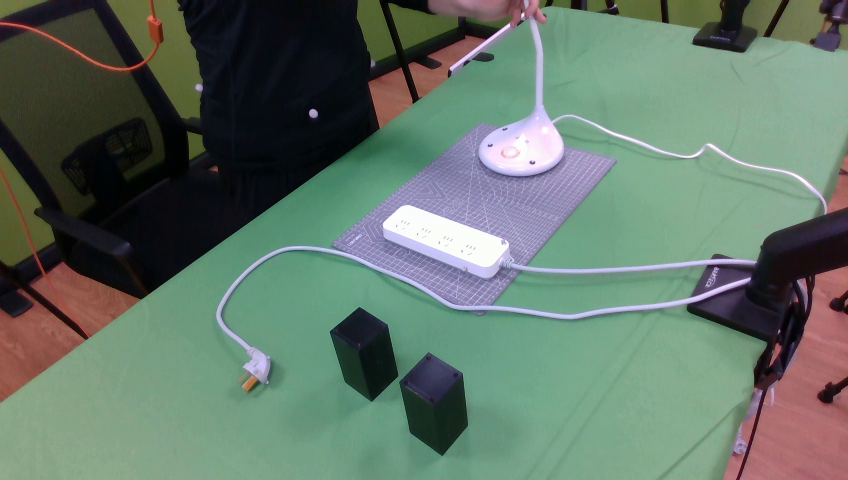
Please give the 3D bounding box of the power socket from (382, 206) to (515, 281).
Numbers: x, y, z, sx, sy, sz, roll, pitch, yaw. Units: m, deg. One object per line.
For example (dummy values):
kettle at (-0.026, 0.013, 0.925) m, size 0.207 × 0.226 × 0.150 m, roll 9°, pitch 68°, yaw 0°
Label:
power socket at (0.032, 0.002, 0.950) m, size 0.225 × 0.033 × 0.072 m, roll 21°, pitch 49°, yaw 29°

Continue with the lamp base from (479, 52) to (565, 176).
lamp base at (0.181, -0.235, 1.093) m, size 0.159 × 0.181 × 0.179 m, roll 18°, pitch 44°, yaw 27°

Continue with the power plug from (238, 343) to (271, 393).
power plug at (-0.230, 0.172, 0.801) m, size 0.072 × 0.035 × 0.053 m, roll 9°, pitch 51°, yaw 50°
